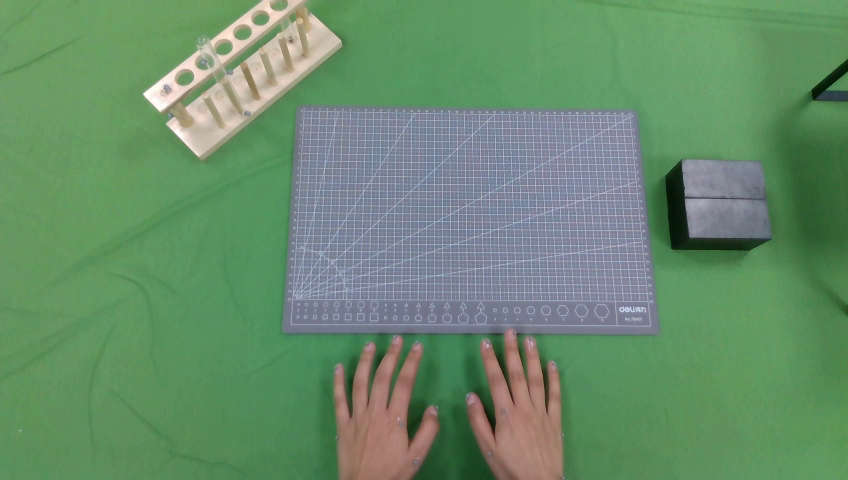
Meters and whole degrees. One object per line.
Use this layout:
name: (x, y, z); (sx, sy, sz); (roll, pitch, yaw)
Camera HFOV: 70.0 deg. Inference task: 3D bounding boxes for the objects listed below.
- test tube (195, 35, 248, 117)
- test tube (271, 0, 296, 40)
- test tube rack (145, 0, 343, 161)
test tube: (-0.234, -0.188, 0.708); (0.017, 0.151, 0.017); (0, 71, 1)
test tube: (-0.179, -0.294, 0.734); (0.017, 0.151, 0.017); (0, 71, 2)
test tube rack: (-0.218, -0.215, 0.762); (0.242, 0.085, 0.066); (-44, 79, -13)
